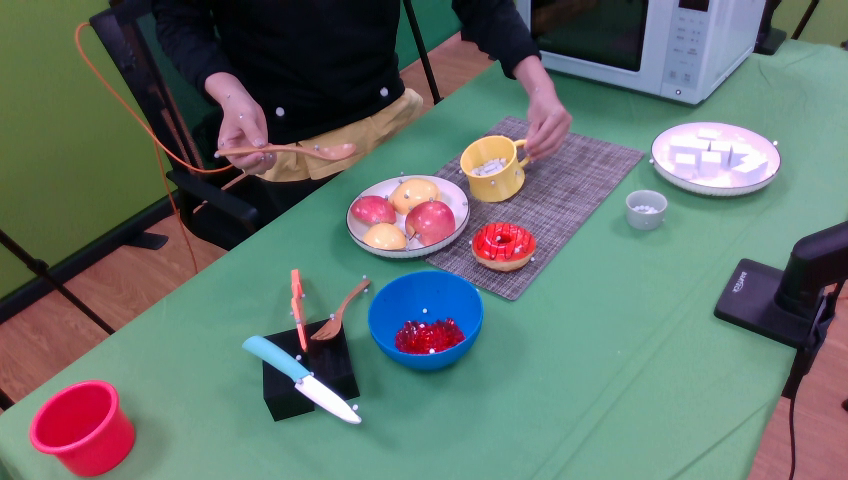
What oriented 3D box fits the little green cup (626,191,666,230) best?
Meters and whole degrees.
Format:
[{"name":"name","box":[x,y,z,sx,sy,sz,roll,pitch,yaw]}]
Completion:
[{"name":"little green cup","box":[0.352,-0.046,0.963,0.061,0.039,0.061,-4,40,4]}]

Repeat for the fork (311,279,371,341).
[{"name":"fork","box":[-0.108,0.092,0.832,0.028,0.019,0.207,-6,19,15]}]

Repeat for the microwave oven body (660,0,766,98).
[{"name":"microwave oven body","box":[0.472,-0.513,1.317,0.438,0.261,0.327,26,51,34]}]

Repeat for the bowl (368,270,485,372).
[{"name":"bowl","box":[0.007,0.118,0.791,0.151,0.077,0.150,-5,40,4]}]

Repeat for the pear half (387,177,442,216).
[{"name":"pear half","box":[-0.029,-0.079,1.032,0.109,0.056,0.076,-4,35,17]}]

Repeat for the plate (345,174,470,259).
[{"name":"plate","box":[-0.026,-0.037,1.004,0.209,0.038,0.208,-4,40,4]}]

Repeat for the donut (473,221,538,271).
[{"name":"donut","box":[0.123,0.008,0.923,0.099,0.048,0.098,-3,38,3]}]

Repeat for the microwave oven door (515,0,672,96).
[{"name":"microwave oven door","box":[0.343,-0.455,1.259,0.353,0.245,0.039,26,51,33]}]

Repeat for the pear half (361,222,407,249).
[{"name":"pear half","box":[-0.063,-0.012,0.958,0.071,0.031,0.087,2,24,-25]}]

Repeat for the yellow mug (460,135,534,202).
[{"name":"yellow mug","box":[0.132,-0.132,1.045,0.131,0.064,0.099,-29,47,-2]}]

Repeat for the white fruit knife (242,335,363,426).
[{"name":"white fruit knife","box":[-0.148,0.167,0.730,0.206,0.016,0.027,26,80,31]}]

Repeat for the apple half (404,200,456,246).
[{"name":"apple half","box":[0.009,-0.035,0.969,0.075,0.053,0.080,-27,41,-22]}]

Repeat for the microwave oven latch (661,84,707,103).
[{"name":"microwave oven latch","box":[0.517,-0.296,1.204,0.078,0.029,0.030,27,52,35]}]

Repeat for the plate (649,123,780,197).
[{"name":"plate","box":[0.497,-0.135,1.046,0.207,0.039,0.206,-4,40,4]}]

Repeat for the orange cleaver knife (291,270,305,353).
[{"name":"orange cleaver knife","box":[-0.175,0.094,0.844,0.012,0.077,0.210,-11,14,-10]}]

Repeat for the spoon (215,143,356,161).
[{"name":"spoon","box":[-0.194,-0.126,0.856,0.194,0.022,0.041,0,40,-11]}]

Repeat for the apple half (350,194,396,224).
[{"name":"apple half","box":[-0.080,-0.056,1.008,0.081,0.033,0.081,11,24,-4]}]
